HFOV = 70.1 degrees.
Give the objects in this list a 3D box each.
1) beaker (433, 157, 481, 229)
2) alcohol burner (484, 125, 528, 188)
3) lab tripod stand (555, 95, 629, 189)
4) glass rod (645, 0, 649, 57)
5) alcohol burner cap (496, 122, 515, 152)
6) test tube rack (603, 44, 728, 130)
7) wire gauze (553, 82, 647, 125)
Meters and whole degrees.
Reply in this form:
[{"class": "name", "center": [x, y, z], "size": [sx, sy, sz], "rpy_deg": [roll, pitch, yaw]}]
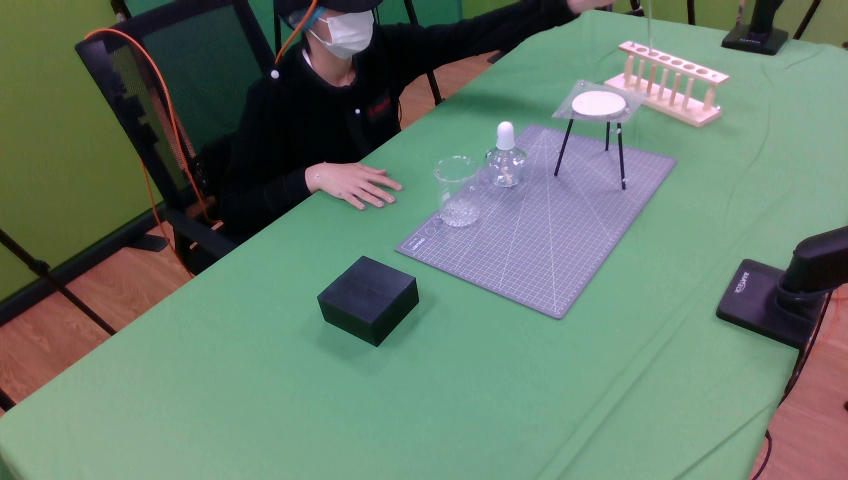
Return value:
[{"class": "beaker", "center": [0.058, -0.077, 0.994], "size": [0.073, 0.101, 0.084], "rpy_deg": [19, 46, 28]}, {"class": "alcohol burner", "center": [0.144, -0.152, 1.059], "size": [0.078, 0.119, 0.077], "rpy_deg": [-3, 41, 3]}, {"class": "lab tripod stand", "center": [0.300, -0.174, 1.045], "size": [0.148, 0.132, 0.147], "rpy_deg": [-5, 38, 5]}, {"class": "glass rod", "center": [0.417, -0.439, 1.130], "size": [0.008, 0.201, 0.008], "rpy_deg": [-10, 37, 8]}, {"class": "alcohol burner cap", "center": [0.139, -0.179, 1.037], "size": [0.034, 0.048, 0.033], "rpy_deg": [-4, 43, 5]}, {"class": "test tube rack", "center": [0.480, -0.316, 1.227], "size": [0.067, 0.085, 0.240], "rpy_deg": [-28, 44, -22]}, {"class": "wire gauze", "center": [0.293, -0.225, 1.002], "size": [0.120, 0.011, 0.125], "rpy_deg": [17, 45, 27]}]
